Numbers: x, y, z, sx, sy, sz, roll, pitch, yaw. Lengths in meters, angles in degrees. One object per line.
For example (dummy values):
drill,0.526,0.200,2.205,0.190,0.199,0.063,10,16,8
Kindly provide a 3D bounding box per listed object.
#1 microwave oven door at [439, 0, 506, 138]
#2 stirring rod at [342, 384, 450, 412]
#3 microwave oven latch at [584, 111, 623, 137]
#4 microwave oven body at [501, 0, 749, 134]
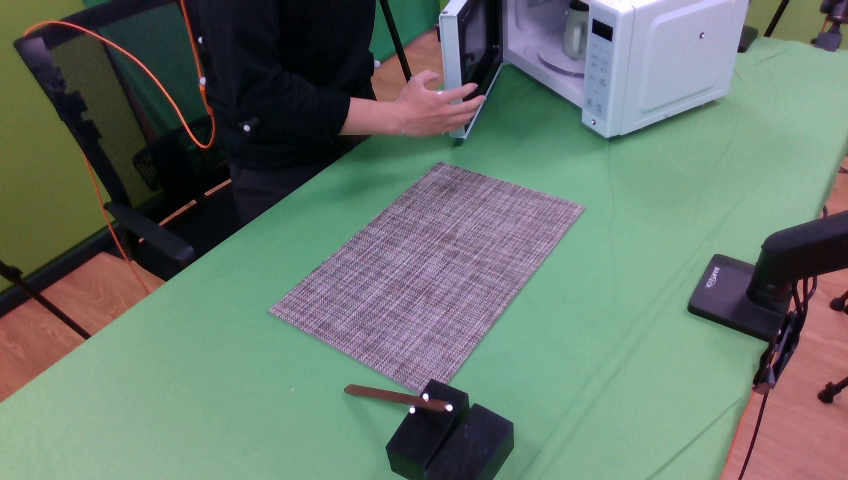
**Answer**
microwave oven door,0.108,-0.406,1.231,0.039,0.245,0.355,7,43,18
stirring rod,-0.038,0.186,0.714,0.175,0.006,0.014,-3,22,43
microwave oven latch,0.337,-0.222,1.142,0.030,0.029,0.078,-21,42,-14
microwave oven body,0.382,-0.444,1.246,0.327,0.261,0.437,-22,42,-16
